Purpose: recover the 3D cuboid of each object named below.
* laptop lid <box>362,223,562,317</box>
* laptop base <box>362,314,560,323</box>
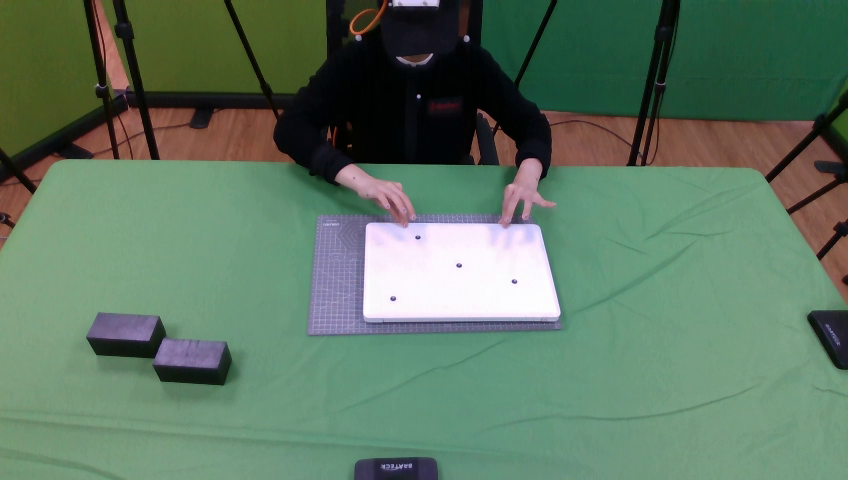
[{"bbox_3d":[0.064,0.050,1.132,0.357,0.013,0.240,1,46,-3],"label":"laptop lid"},{"bbox_3d":[0.063,0.063,1.143,0.355,0.023,0.234,0,43,-4],"label":"laptop base"}]
